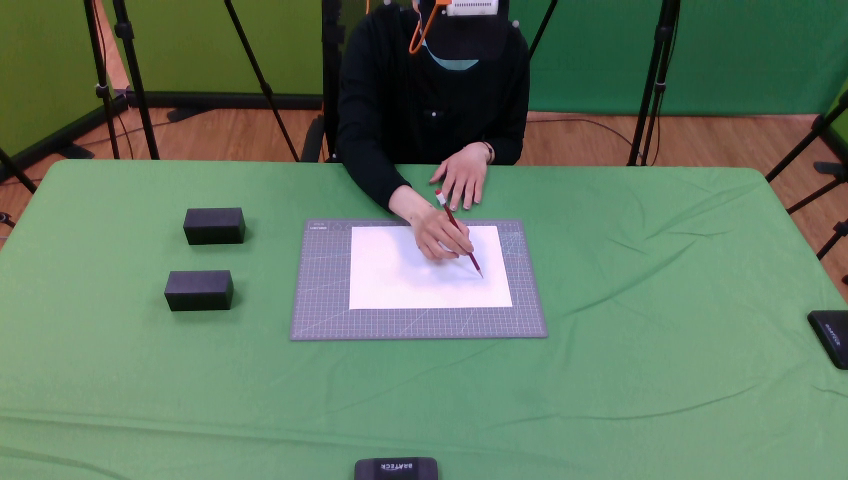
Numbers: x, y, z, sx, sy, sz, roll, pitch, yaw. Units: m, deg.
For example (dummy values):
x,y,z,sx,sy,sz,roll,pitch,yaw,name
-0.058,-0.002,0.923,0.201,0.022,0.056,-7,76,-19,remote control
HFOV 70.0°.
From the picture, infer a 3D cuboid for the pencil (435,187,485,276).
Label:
x,y,z,sx,sy,sz,roll,pitch,yaw,name
0.068,-0.013,1.114,0.012,0.194,0.012,-27,17,9,pencil
